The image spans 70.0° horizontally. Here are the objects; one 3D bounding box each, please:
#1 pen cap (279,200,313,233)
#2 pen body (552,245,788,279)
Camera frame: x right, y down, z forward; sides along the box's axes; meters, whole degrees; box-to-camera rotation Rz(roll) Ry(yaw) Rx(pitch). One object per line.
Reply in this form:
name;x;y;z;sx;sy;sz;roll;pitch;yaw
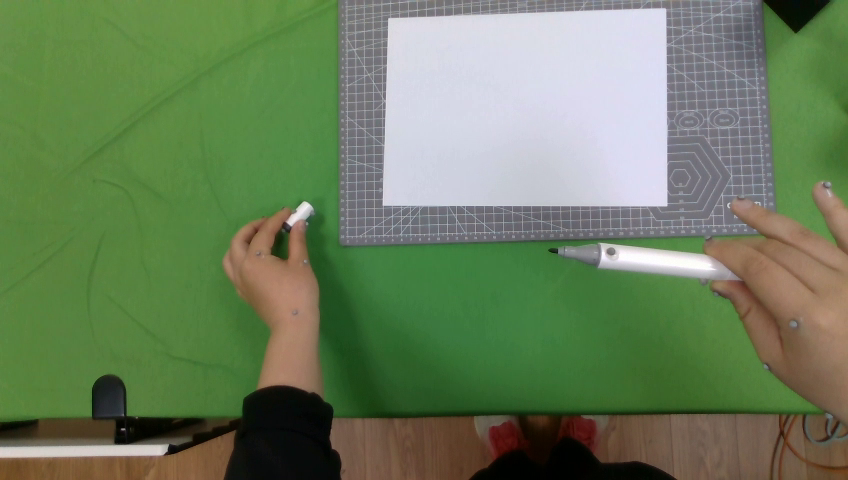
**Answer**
pen cap;-0.139;-0.024;0.656;0.038;0.017;0.017;-42;81;-2
pen body;0.152;0.014;0.379;0.144;0.017;0.017;3;85;-1
